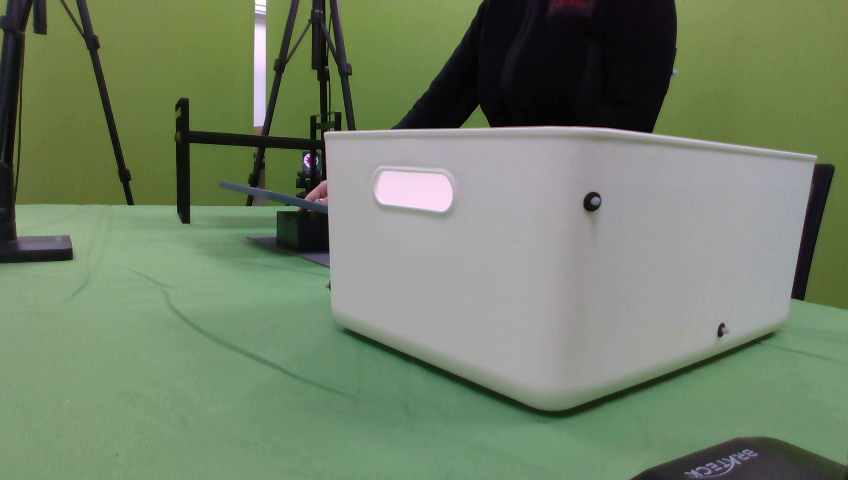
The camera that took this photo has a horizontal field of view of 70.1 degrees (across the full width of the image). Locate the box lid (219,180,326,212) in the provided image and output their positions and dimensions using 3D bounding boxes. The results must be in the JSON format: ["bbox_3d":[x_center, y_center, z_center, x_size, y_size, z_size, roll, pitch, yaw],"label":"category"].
[{"bbox_3d":[-0.122,-0.040,0.990,0.374,0.015,0.262,13,1,-36],"label":"box lid"}]

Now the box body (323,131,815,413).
[{"bbox_3d":[0.125,0.000,0.510,0.366,0.160,0.253,-4,9,-41],"label":"box body"}]

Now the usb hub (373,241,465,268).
[{"bbox_3d":[-0.005,0.018,0.826,0.126,0.025,0.049,-3,9,-39],"label":"usb hub"}]
